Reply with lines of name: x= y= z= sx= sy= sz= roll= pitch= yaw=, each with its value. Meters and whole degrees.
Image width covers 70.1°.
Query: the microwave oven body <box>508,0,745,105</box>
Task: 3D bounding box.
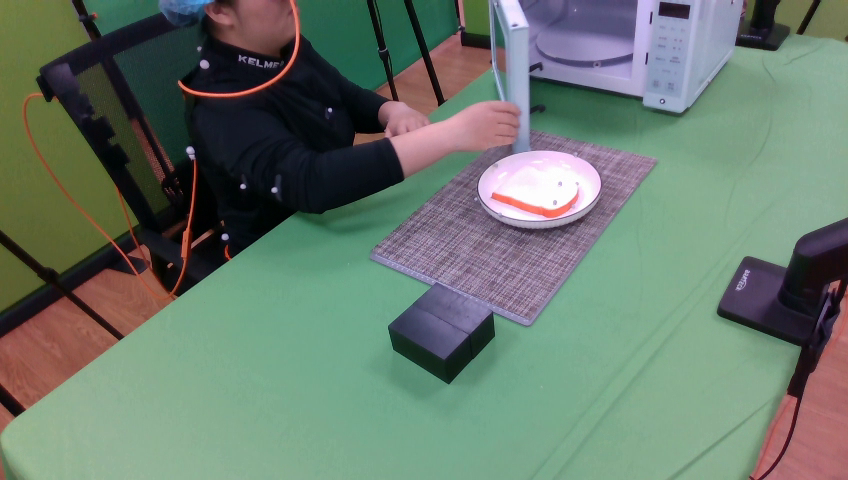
microwave oven body: x=0.416 y=-0.486 z=1.290 sx=0.438 sy=0.261 sz=0.327 roll=21 pitch=50 yaw=33

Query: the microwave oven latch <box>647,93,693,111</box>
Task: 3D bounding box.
microwave oven latch: x=0.477 y=-0.273 z=1.177 sx=0.078 sy=0.029 sz=0.030 roll=22 pitch=50 yaw=33

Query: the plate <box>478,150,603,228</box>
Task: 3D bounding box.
plate: x=0.198 y=-0.084 z=1.030 sx=0.209 sy=0.038 sz=0.208 roll=-5 pitch=40 yaw=5

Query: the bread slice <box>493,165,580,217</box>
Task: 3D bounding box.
bread slice: x=0.200 y=-0.084 z=1.034 sx=0.130 sy=0.019 sz=0.105 roll=23 pitch=50 yaw=35

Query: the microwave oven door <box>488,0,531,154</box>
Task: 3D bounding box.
microwave oven door: x=0.164 y=-0.365 z=1.189 sx=0.039 sy=0.245 sz=0.354 roll=-7 pitch=40 yaw=4
